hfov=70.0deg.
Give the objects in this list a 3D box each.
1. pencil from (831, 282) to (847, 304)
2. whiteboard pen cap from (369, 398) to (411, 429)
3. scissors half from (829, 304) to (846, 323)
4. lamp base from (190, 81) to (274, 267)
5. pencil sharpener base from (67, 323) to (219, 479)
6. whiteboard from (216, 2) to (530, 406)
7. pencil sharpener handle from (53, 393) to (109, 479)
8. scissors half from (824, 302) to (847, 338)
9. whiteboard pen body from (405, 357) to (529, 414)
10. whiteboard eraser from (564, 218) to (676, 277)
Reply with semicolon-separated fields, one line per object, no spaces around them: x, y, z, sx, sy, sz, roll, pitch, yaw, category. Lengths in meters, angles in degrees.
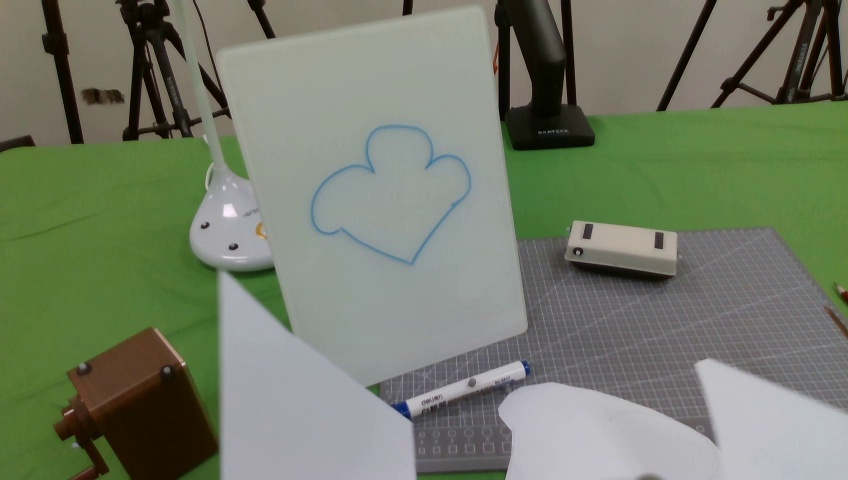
0.430;0.099;0.550;0.012;0.012;0.192;-5;35;-1;pencil
-0.028;0.145;0.508;0.033;0.018;0.018;-17;39;-15;whiteboard pen cap
0.330;0.113;0.424;0.040;0.013;0.173;19;40;-21;scissors half
-0.217;-0.085;0.701;0.177;0.182;0.160;24;45;35;lamp base
-0.218;0.133;0.473;0.077;0.108;0.061;-31;45;-31;pencil sharpener base
-0.045;-0.041;0.574;0.217;0.307;0.142;-16;19;-14;whiteboard
-0.254;0.146;0.437;0.030;0.068;0.035;-31;33;-31;pencil sharpener handle
0.349;0.115;0.434;0.040;0.013;0.173;-2;50;-33;scissors half
0.027;0.129;0.523;0.141;0.017;0.017;-16;39;-15;whiteboard pen body
0.212;0.009;0.654;0.112;0.042;0.055;9;39;16;whiteboard eraser
